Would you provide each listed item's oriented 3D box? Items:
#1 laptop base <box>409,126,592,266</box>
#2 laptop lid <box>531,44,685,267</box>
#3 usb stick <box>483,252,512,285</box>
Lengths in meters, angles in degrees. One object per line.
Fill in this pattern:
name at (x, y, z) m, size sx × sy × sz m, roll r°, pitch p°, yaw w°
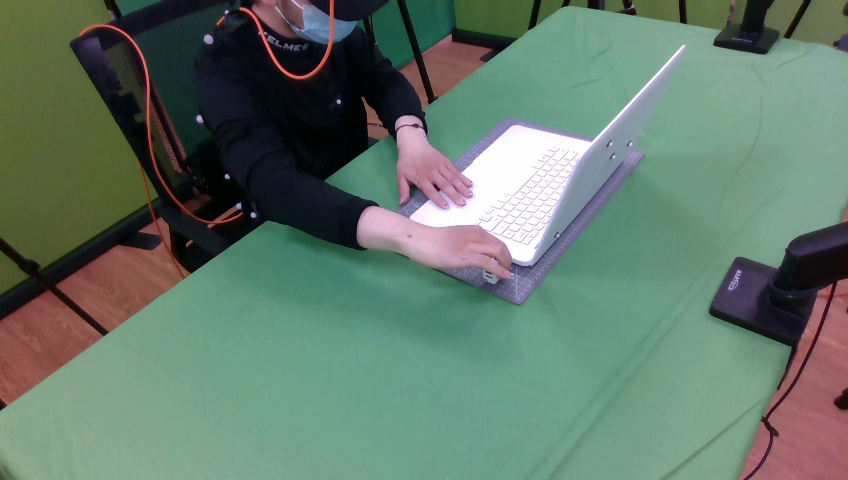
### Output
laptop base at (0.169, -0.093, 1.055) m, size 0.233 × 0.023 × 0.355 m, roll 19°, pitch 47°, yaw 33°
laptop lid at (0.278, -0.129, 0.906) m, size 0.013 × 0.242 × 0.357 m, roll 34°, pitch 52°, yaw 17°
usb stick at (0.111, 0.038, 0.893) m, size 0.021 × 0.027 × 0.059 m, roll 24°, pitch 47°, yaw 31°
